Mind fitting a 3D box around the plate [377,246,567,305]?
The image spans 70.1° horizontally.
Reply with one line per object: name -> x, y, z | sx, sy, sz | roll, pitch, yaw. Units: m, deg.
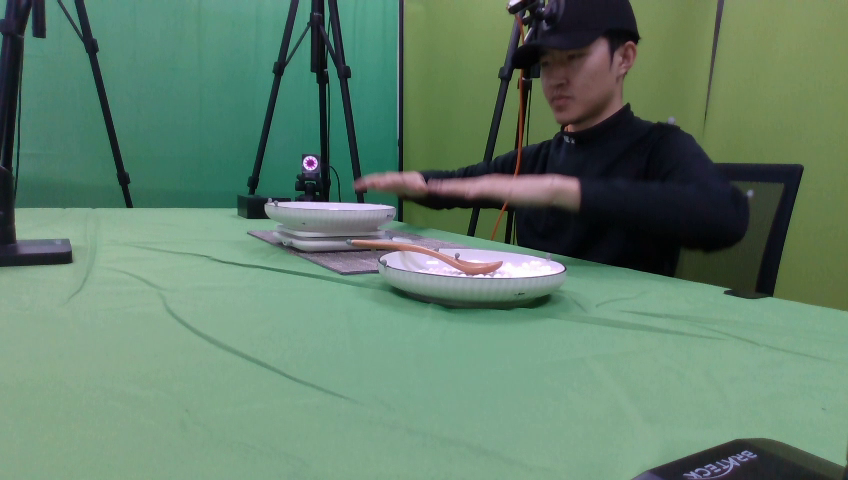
plate -> 0.052, 0.039, 0.671 | 0.209, 0.038, 0.209 | 2, 6, 0

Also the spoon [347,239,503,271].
spoon -> -0.002, 0.014, 0.721 | 0.193, 0.021, 0.042 | 12, 9, 17

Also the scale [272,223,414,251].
scale -> -0.131, -0.008, 0.984 | 0.202, 0.031, 0.148 | -2, 8, -32

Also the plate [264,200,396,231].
plate -> -0.150, -0.040, 0.972 | 0.208, 0.039, 0.207 | 2, 7, 0
